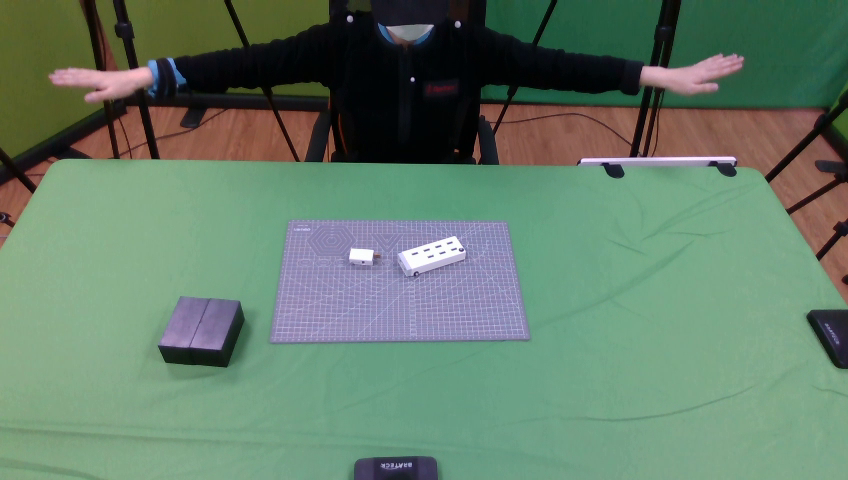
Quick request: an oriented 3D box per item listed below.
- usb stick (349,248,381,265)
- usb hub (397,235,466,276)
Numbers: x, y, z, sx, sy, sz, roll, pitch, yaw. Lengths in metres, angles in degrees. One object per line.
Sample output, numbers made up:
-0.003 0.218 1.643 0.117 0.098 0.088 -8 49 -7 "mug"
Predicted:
-0.112 0.032 1.151 0.059 0.021 0.027 2 57 0 "usb stick"
0.015 0.030 1.162 0.125 0.025 0.049 -17 51 -19 "usb hub"
